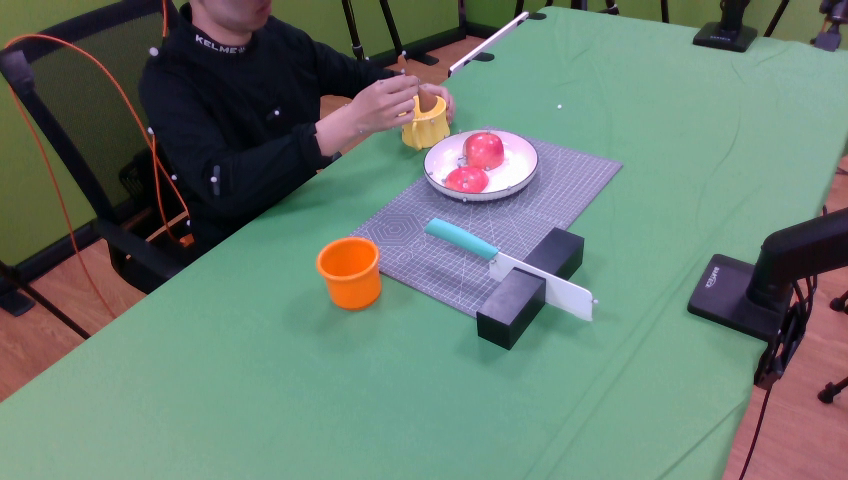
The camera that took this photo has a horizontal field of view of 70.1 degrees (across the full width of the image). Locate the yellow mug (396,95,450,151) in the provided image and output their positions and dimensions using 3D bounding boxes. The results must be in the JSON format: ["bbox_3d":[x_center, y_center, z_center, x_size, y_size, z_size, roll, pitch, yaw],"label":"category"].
[{"bbox_3d":[-0.004,-0.228,1.200,0.099,0.064,0.130,1,44,16],"label":"yellow mug"}]

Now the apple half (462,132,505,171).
[{"bbox_3d":[0.109,-0.170,1.110,0.075,0.053,0.080,-6,40,-2],"label":"apple half"}]

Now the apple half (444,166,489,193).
[{"bbox_3d":[0.074,-0.112,1.062,0.081,0.033,0.081,-6,39,5],"label":"apple half"}]

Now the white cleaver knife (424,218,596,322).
[{"bbox_3d":[0.114,0.042,0.865,0.284,0.066,0.021,27,47,28],"label":"white cleaver knife"}]

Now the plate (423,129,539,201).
[{"bbox_3d":[0.103,-0.132,1.092,0.209,0.038,0.208,-4,40,4],"label":"plate"}]

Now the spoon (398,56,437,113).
[{"bbox_3d":[-0.015,-0.270,1.059,0.041,0.195,0.021,-38,67,5],"label":"spoon"}]
